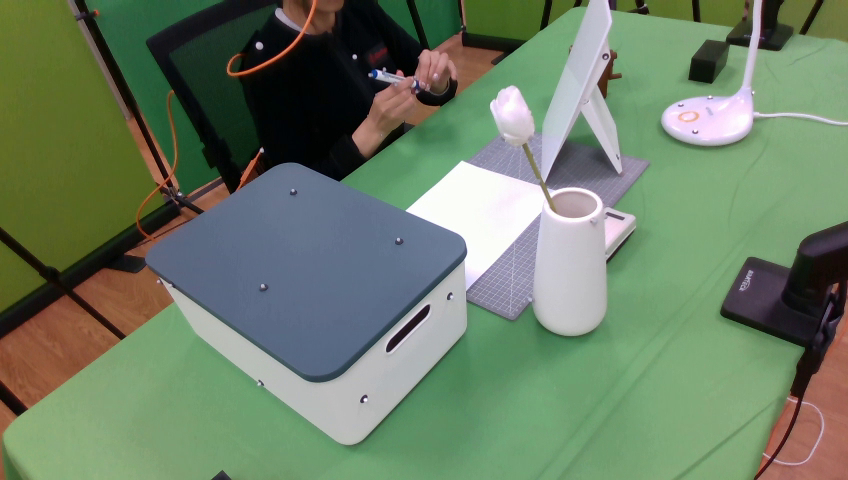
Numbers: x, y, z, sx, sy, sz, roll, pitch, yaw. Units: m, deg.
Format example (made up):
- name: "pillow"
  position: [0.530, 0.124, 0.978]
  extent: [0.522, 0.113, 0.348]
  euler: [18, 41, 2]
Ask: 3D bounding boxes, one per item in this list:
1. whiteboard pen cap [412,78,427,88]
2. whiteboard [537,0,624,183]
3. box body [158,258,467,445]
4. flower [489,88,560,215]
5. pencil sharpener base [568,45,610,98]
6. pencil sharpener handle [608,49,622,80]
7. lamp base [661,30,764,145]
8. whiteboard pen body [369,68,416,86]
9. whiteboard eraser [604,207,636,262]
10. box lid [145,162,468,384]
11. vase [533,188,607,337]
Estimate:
- name: "whiteboard pen cap"
  position: [-0.012, -0.311, 1.198]
  extent: [0.033, 0.018, 0.018]
  euler: [-6, 33, -37]
- name: "whiteboard"
  position: [0.316, -0.256, 1.047]
  extent: [0.144, 0.306, 0.216]
  euler: [15, 42, -1]
- name: "box body"
  position: [-0.147, 0.072, 0.816]
  extent: [0.361, 0.161, 0.255]
  euler: [24, 50, 33]
- name: "flower"
  position: [0.158, -0.027, 0.720]
  extent: [0.038, 0.364, 0.044]
  euler: [-14, 44, 23]
- name: "pencil sharpener base"
  position: [0.345, -0.352, 1.263]
  extent: [0.077, 0.107, 0.061]
  euler: [-9, 40, 1]
- name: "pencil sharpener handle"
  position: [0.394, -0.368, 1.253]
  extent: [0.030, 0.068, 0.036]
  euler: [-9, 31, 1]
- name: "lamp base"
  position: [0.535, -0.287, 1.095]
  extent: [0.179, 0.181, 0.159]
  euler: [-10, 40, -4]
- name: "whiteboard pen body"
  position: [-0.051, -0.308, 1.151]
  extent: [0.017, 0.017, 0.142]
  euler: [28, 20, 36]
- name: "whiteboard eraser"
  position: [0.272, -0.003, 0.919]
  extent: [0.055, 0.042, 0.113]
  euler: [27, 51, 32]
- name: "box lid"
  position: [-0.157, 0.014, 0.769]
  extent: [0.368, 0.015, 0.264]
  euler: [25, 51, 33]
- name: "vase"
  position: [0.187, 0.033, 0.771]
  extent: [0.098, 0.201, 0.097]
  euler: [-6, 41, 6]
